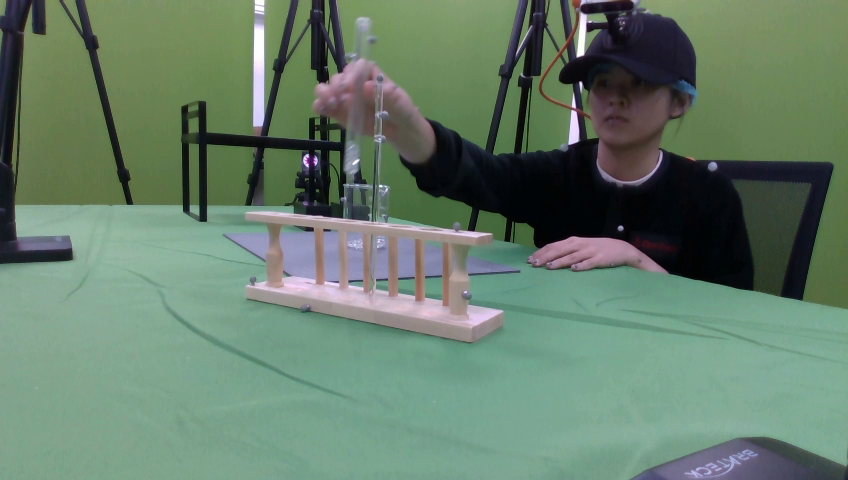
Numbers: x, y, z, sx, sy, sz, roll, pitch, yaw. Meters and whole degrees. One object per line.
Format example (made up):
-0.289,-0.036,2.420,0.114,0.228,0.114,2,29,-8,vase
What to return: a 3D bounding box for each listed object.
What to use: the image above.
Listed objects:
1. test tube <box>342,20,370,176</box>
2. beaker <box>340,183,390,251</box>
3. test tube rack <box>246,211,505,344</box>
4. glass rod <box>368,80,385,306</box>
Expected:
-0.066,-0.137,0.583,0.017,0.150,0.017,5,0,0,test tube
-0.090,-0.036,0.943,0.083,0.100,0.074,10,10,41,beaker
-0.049,0.025,0.547,0.241,0.085,0.067,7,8,29,test tube rack
-0.041,-0.039,0.530,0.008,0.199,0.008,3,2,0,glass rod
